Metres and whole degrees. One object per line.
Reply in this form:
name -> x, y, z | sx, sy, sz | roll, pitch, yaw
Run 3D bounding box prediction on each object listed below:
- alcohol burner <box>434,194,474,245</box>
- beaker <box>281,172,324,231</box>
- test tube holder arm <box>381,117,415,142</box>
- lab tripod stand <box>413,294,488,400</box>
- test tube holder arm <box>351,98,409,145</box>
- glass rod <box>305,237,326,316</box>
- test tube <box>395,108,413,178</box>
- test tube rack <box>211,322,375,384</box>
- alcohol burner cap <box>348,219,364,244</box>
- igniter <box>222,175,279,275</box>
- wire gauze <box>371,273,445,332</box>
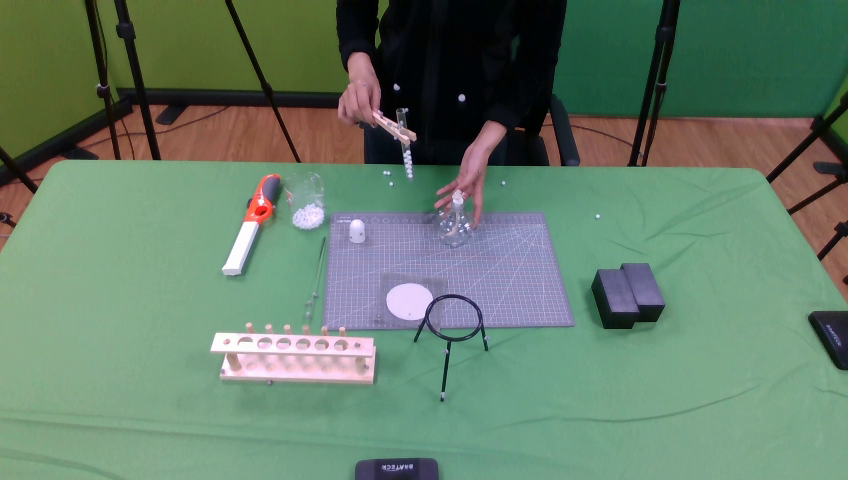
alcohol burner -> 0.061, -0.046, 1.183 | 0.078, 0.119, 0.077 | 3, 47, -3
beaker -> -0.234, -0.073, 1.199 | 0.084, 0.101, 0.074 | 24, 50, 17
test tube holder arm -> -0.050, -0.202, 1.104 | 0.087, 0.015, 0.010 | 33, 54, 30
lab tripod stand -> 0.044, 0.159, 0.972 | 0.148, 0.132, 0.147 | 2, 44, -2
test tube holder arm -> -0.084, -0.222, 1.126 | 0.013, 0.015, 0.177 | -30, 51, -27
glass rod -> -0.202, 0.063, 1.131 | 0.008, 0.008, 0.198 | 4, 44, 0
test tube -> -0.036, -0.173, 1.104 | 0.017, 0.151, 0.017 | -4, 44, 4
test tube rack -> -0.202, 0.176, 0.969 | 0.242, 0.085, 0.066 | 3, 46, -2
alcohol burner cap -> -0.134, -0.019, 1.190 | 0.034, 0.048, 0.033 | 2, 46, -2
igniter -> -0.341, -0.039, 1.206 | 0.057, 0.025, 0.275 | -1, 45, 8
wire gauze -> -0.028, 0.108, 1.100 | 0.125, 0.011, 0.121 | 8, 45, 4
